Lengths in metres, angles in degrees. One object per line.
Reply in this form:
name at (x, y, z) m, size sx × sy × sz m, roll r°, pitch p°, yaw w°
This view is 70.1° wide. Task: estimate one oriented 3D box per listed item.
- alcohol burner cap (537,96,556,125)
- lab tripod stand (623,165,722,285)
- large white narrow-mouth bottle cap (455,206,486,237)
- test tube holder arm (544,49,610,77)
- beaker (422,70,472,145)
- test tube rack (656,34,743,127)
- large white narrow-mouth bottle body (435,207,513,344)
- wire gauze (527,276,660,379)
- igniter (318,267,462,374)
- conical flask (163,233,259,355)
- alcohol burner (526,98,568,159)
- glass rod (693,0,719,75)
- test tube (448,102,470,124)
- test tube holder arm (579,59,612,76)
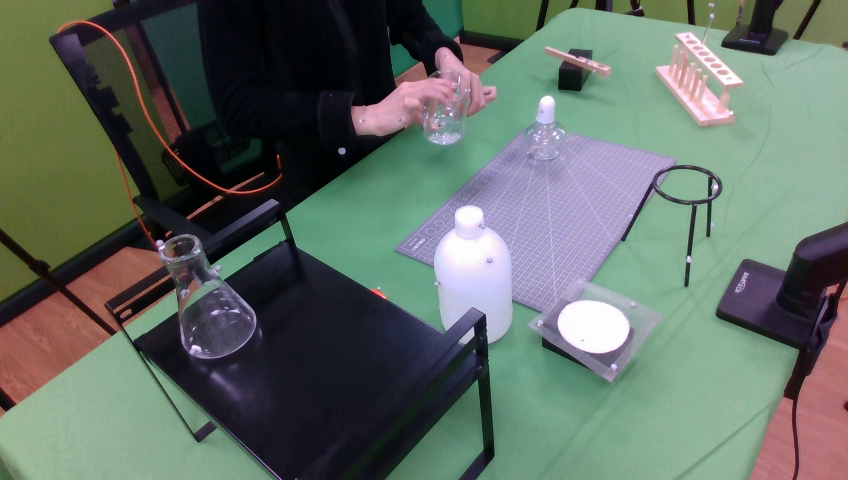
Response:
alcohol burner cap at (0.223, -0.237, 1.095) m, size 0.034 × 0.048 × 0.033 m, roll 0°, pitch 43°, yaw 1°
lab tripod stand at (0.365, -0.030, 0.875) m, size 0.148 × 0.132 × 0.147 m, roll -6°, pitch 41°, yaw 6°
large white narrow-mouth bottle cap at (0.056, -0.023, 0.734) m, size 0.038 × 0.024 × 0.037 m, roll -4°, pitch 40°, yaw 4°
test tube holder arm at (0.330, -0.386, 1.314) m, size 0.013 × 0.015 × 0.177 m, roll -25°, pitch 43°, yaw -32°
beaker at (0.037, -0.210, 0.975) m, size 0.074 × 0.084 × 0.100 m, roll 1°, pitch 58°, yaw 11°
test tube rack at (0.553, -0.331, 1.233) m, size 0.067 × 0.085 × 0.241 m, roll -7°, pitch 40°, yaw 2°
large white narrow-mouth bottle body at (0.065, 0.041, 0.791) m, size 0.102 × 0.195 × 0.101 m, roll -4°, pitch 41°, yaw 4°
wire gauze at (0.213, 0.103, 0.763) m, size 0.124 × 0.011 × 0.122 m, roll 30°, pitch 52°, yaw 35°
igniter at (-0.059, 0.107, 0.862) m, size 0.274 × 0.025 × 0.057 m, roll 28°, pitch 62°, yaw 34°
conical flask at (-0.216, 0.051, 0.601) m, size 0.075 × 0.122 × 0.075 m, roll -4°, pitch 40°, yaw 4°
alcohol burner at (0.228, -0.210, 1.118) m, size 0.078 × 0.119 × 0.077 m, roll -5°, pitch 43°, yaw 5°
glass rod at (0.561, -0.401, 1.214) m, size 0.008 × 0.200 × 0.008 m, roll -1°, pitch 48°, yaw 2°
test tube at (0.066, -0.231, 1.103) m, size 0.017 × 0.017 × 0.151 m, roll 3°, pitch 3°, yaw 13°
test tube holder arm at (0.362, -0.368, 1.289) m, size 0.010 × 0.015 × 0.087 m, roll -25°, pitch 43°, yaw -32°
